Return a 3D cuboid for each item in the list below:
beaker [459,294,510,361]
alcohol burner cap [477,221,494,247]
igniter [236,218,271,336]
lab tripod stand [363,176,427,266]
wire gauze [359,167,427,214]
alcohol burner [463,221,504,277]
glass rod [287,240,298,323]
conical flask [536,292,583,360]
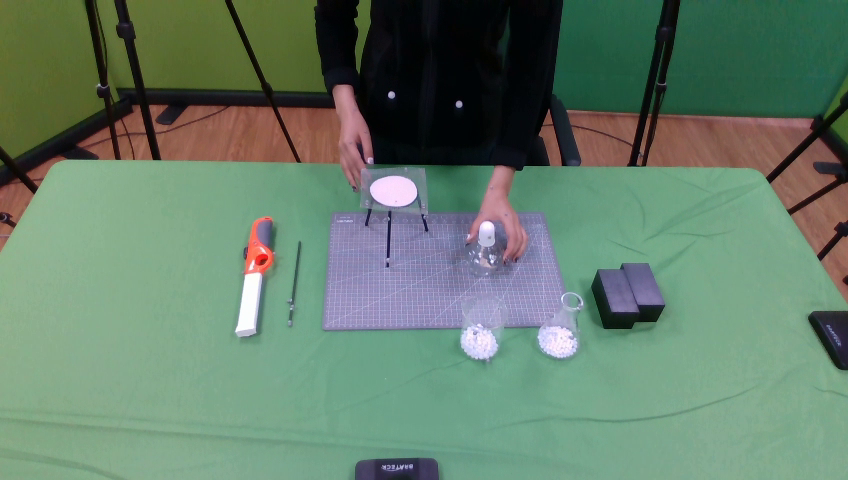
[{"bbox_3d":[0.095,0.147,1.012,0.083,0.101,0.074,26,49,21],"label":"beaker"},{"bbox_3d":[0.113,-0.013,1.104,0.034,0.048,0.033,-2,45,2],"label":"alcohol burner cap"},{"bbox_3d":[-0.312,0.058,1.115,0.057,0.025,0.274,-9,46,2],"label":"igniter"},{"bbox_3d":[-0.058,-0.047,1.159,0.148,0.132,0.147,3,44,-2],"label":"lab tripod stand"},{"bbox_3d":[-0.059,-0.093,1.110,0.125,0.011,0.120,2,45,-4],"label":"wire gauze"},{"bbox_3d":[0.112,0.011,1.131,0.078,0.120,0.077,2,44,-1],"label":"alcohol burner"},{"bbox_3d":[-0.242,0.071,1.119,0.008,0.008,0.198,-1,47,-5],"label":"glass rod"},{"bbox_3d":[0.234,0.139,1.015,0.075,0.122,0.075,2,46,-2],"label":"conical flask"}]
